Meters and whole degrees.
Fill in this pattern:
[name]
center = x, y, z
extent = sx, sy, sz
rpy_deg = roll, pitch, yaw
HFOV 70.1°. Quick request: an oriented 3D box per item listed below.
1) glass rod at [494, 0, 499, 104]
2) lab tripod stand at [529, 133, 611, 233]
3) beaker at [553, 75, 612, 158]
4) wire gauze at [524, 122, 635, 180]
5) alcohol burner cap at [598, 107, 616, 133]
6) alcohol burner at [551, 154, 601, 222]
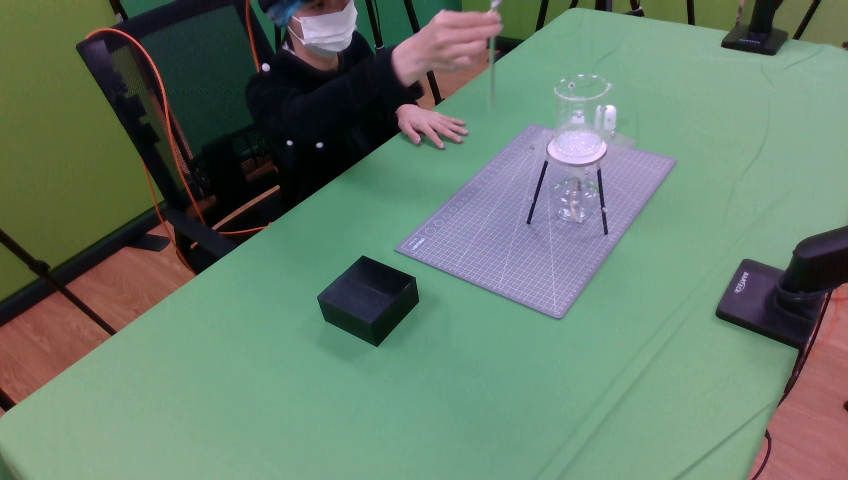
[glass rod]
center = 0.094, -0.259, 0.783
extent = 0.008, 0.200, 0.008
rpy_deg = -3, 48, 4
[lab tripod stand]
center = 0.236, -0.089, 0.953
extent = 0.148, 0.132, 0.147
rpy_deg = -5, 41, 5
[beaker]
center = 0.230, -0.178, 0.882
extent = 0.084, 0.101, 0.073
rpy_deg = -9, 41, 1
[wire gauze]
center = 0.233, -0.142, 0.913
extent = 0.122, 0.011, 0.124
rpy_deg = -31, 43, -26
[alcohol burner cap]
center = 0.361, -0.239, 1.189
extent = 0.034, 0.048, 0.033
rpy_deg = -4, 40, 4
[alcohol burner]
center = 0.244, -0.088, 0.966
extent = 0.078, 0.119, 0.077
rpy_deg = -3, 41, 3
